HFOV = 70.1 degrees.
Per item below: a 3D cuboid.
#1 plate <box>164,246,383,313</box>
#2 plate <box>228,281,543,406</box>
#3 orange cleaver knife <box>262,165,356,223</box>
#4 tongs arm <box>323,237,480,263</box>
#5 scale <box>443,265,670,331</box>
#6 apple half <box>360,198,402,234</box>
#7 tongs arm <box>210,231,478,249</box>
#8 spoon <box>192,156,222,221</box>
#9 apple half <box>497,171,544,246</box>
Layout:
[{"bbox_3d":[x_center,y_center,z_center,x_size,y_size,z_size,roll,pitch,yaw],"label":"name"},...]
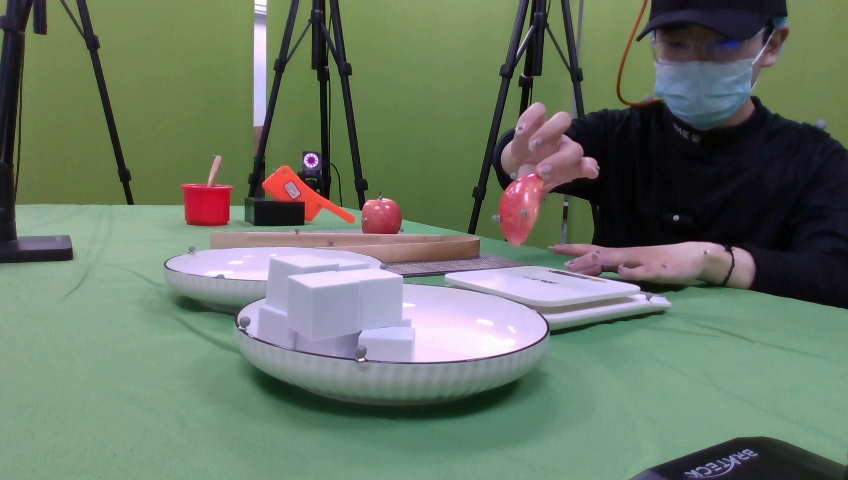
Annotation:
[{"bbox_3d":[-0.145,0.038,0.600,0.209,0.038,0.209,2,7,0],"label":"plate"},{"bbox_3d":[-0.025,0.067,0.413,0.208,0.039,0.207,3,7,0],"label":"plate"},{"bbox_3d":[-0.243,-0.081,1.292,0.212,0.077,0.012,34,-8,-26],"label":"orange cleaver knife"},{"bbox_3d":[-0.070,0.017,0.801,0.390,0.028,0.028,-3,5,-34],"label":"tongs arm"},{"bbox_3d":[0.131,0.052,0.603,0.202,0.031,0.148,-3,9,-37],"label":"scale"},{"bbox_3d":[-0.066,-0.033,1.014,0.053,0.074,0.081,9,6,21],"label":"apple half"},{"bbox_3d":[-0.106,0.004,0.876,0.386,0.026,0.050,0,7,-20],"label":"tongs arm"},{"bbox_3d":[-0.430,-0.108,1.222,0.041,0.021,0.193,-1,52,0],"label":"spoon"},{"bbox_3d":[0.088,-0.032,0.597,0.033,0.081,0.081,18,6,-8],"label":"apple half"}]
